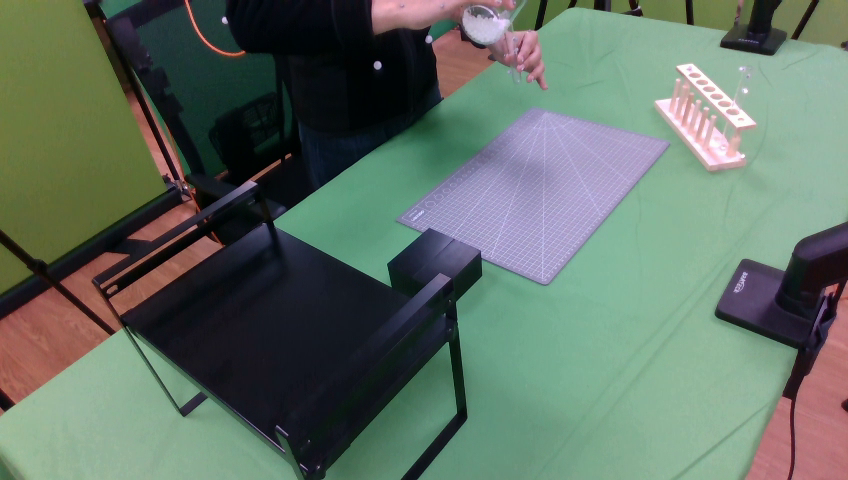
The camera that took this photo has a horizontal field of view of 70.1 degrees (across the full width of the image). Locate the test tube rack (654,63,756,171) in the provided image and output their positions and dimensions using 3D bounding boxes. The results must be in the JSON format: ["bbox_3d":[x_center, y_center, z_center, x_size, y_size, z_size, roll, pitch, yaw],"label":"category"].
[{"bbox_3d":[0.511,-0.233,1.120,0.067,0.085,0.241,-8,41,-1],"label":"test tube rack"}]

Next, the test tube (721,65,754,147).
[{"bbox_3d":[0.534,-0.226,1.031,0.017,0.151,0.017,-2,40,2],"label":"test tube"}]

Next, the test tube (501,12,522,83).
[{"bbox_3d":[0.146,-0.313,0.994,0.017,0.151,0.017,-7,61,14],"label":"test tube"}]

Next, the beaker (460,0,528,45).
[{"bbox_3d":[0.102,-0.337,0.878,0.073,0.084,0.100,19,56,20],"label":"beaker"}]
